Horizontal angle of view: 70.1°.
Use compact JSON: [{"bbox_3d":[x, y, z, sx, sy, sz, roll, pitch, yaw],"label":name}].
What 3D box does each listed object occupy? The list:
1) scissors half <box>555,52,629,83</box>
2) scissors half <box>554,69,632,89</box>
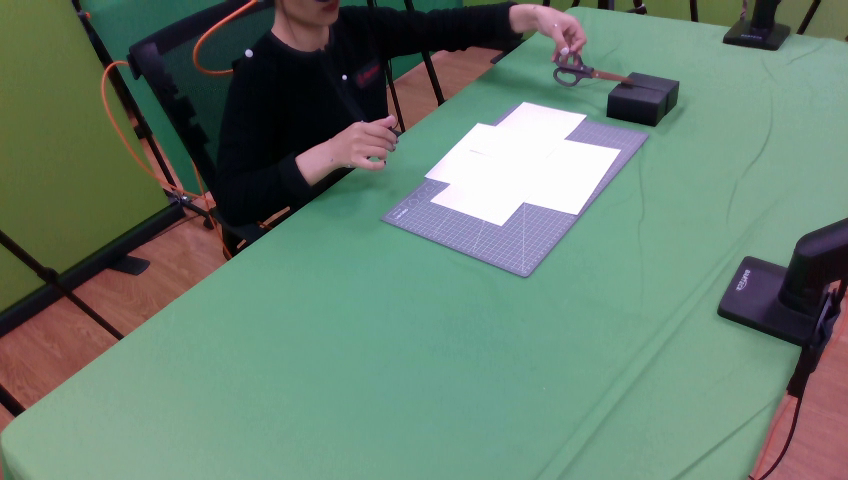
[{"bbox_3d":[0.346,-0.350,1.239,0.174,0.040,0.013,30,45,28],"label":"scissors half"},{"bbox_3d":[0.346,-0.332,1.249,0.174,0.040,0.013,14,30,40],"label":"scissors half"}]
